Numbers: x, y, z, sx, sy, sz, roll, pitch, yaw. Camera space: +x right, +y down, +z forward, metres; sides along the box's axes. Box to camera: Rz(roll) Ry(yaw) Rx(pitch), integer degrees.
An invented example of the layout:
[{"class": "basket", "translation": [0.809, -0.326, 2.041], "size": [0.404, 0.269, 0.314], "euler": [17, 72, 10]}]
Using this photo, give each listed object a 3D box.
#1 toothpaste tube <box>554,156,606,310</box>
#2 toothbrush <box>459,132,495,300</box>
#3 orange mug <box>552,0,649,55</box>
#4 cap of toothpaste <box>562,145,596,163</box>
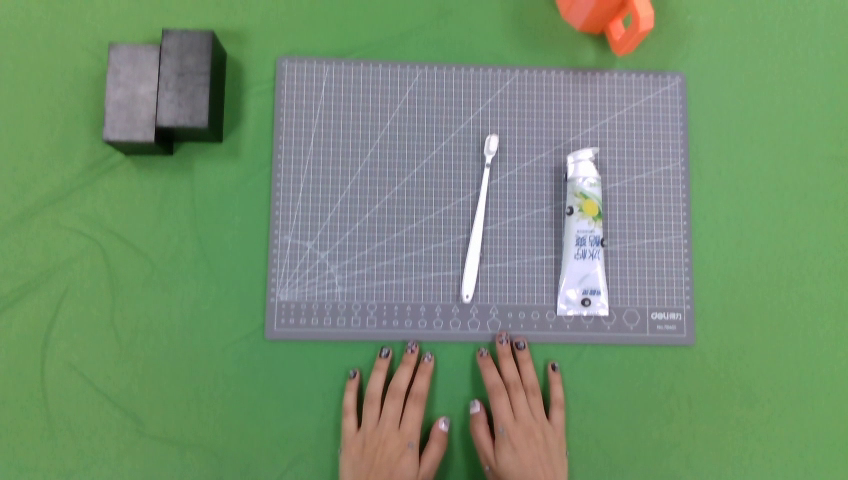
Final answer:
[{"class": "toothpaste tube", "translation": [0.164, -0.008, 0.640], "size": [0.055, 0.034, 0.165], "euler": [-1, 87, 4]}, {"class": "toothbrush", "translation": [0.056, -0.027, 0.640], "size": [0.014, 0.016, 0.181], "euler": [11, 84, -17]}, {"class": "orange mug", "translation": [0.195, -0.265, 0.637], "size": [0.083, 0.101, 0.125], "euler": [-20, 80, -5]}, {"class": "cap of toothpaste", "translation": [0.165, -0.090, 0.643], "size": [0.037, 0.037, 0.011], "euler": [-12, 81, -5]}]
